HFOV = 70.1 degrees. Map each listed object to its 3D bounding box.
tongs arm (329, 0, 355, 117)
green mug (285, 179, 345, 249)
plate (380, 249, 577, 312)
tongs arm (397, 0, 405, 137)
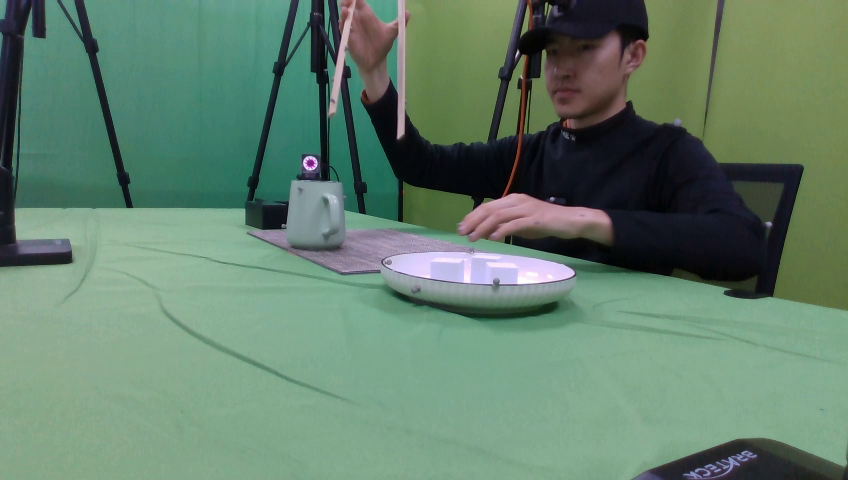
[{"bbox_3d":[-0.107,-0.373,1.015,0.051,0.384,0.026,14,-20,-24],"label":"tongs arm"},{"bbox_3d":[-0.161,-0.040,0.936,0.093,0.105,0.124,-2,8,-32],"label":"green mug"},{"bbox_3d":[0.056,0.042,0.646,0.209,0.038,0.209,2,7,0],"label":"plate"},{"bbox_3d":[-0.048,-0.361,1.045,0.028,0.386,0.027,3,-15,-23],"label":"tongs arm"}]
